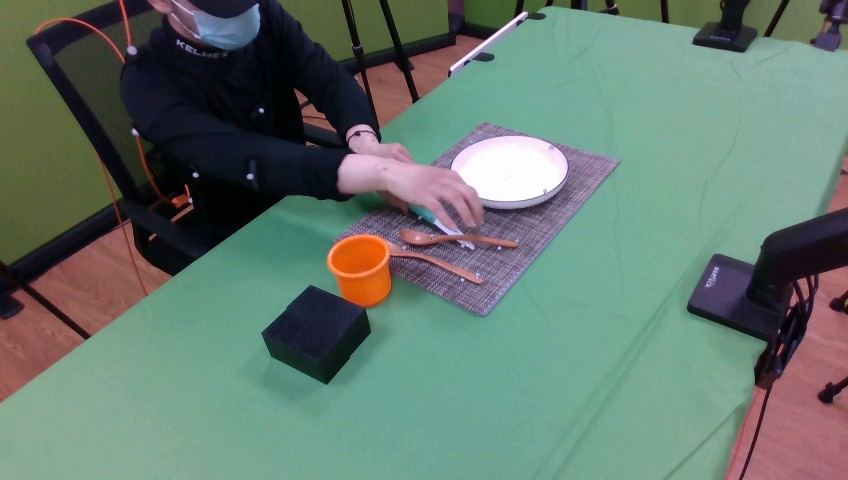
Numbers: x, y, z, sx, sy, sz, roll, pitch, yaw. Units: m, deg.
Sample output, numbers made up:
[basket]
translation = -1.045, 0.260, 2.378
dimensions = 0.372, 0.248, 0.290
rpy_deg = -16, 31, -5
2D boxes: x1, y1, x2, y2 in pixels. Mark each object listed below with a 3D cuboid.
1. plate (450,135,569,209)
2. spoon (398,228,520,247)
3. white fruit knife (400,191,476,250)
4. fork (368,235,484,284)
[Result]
[plate]
translation = 0.149, -0.117, 1.066
dimensions = 0.209, 0.038, 0.208
rpy_deg = -4, 41, 4
[spoon]
translation = 0.054, -0.002, 0.957
dimensions = 0.193, 0.022, 0.041
rpy_deg = 3, 28, 11
[white fruit knife]
translation = 0.019, -0.034, 1.005
dimensions = 0.027, 0.016, 0.205
rpy_deg = -21, 40, -29
[fork]
translation = 0.000, 0.030, 0.930
dimensions = 0.206, 0.019, 0.028
rpy_deg = 18, 42, 29
